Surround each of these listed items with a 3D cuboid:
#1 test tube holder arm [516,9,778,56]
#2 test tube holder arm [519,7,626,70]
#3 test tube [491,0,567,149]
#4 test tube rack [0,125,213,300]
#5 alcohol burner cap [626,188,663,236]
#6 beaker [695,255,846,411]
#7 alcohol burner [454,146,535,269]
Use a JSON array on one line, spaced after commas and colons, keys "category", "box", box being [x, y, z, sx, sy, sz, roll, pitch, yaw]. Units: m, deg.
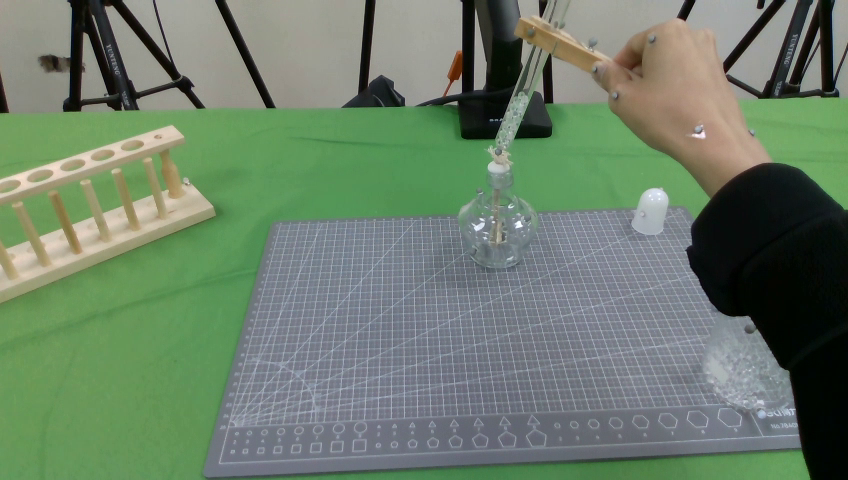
[{"category": "test tube holder arm", "box": [0.155, -0.149, 0.440, 0.177, 0.013, 0.015, -1, 38, 24]}, {"category": "test tube holder arm", "box": [0.113, -0.151, 0.456, 0.088, 0.010, 0.015, 24, 47, 1]}, {"category": "test tube", "box": [0.083, -0.135, 0.479, 0.017, 0.151, 0.017, 11, 42, -9]}, {"category": "test tube rack", "box": [-0.345, -0.028, 0.596, 0.242, 0.086, 0.066, -27, 46, -29]}, {"category": "alcohol burner cap", "box": [0.229, -0.032, 0.625, 0.034, 0.048, 0.033, 0, 39, 1]}, {"category": "beaker", "box": [0.247, 0.070, 0.451, 0.074, 0.101, 0.083, -21, 42, -23]}, {"category": "alcohol burner", "box": [0.066, -0.033, 0.571, 0.078, 0.120, 0.077, -1, 37, 1]}]
